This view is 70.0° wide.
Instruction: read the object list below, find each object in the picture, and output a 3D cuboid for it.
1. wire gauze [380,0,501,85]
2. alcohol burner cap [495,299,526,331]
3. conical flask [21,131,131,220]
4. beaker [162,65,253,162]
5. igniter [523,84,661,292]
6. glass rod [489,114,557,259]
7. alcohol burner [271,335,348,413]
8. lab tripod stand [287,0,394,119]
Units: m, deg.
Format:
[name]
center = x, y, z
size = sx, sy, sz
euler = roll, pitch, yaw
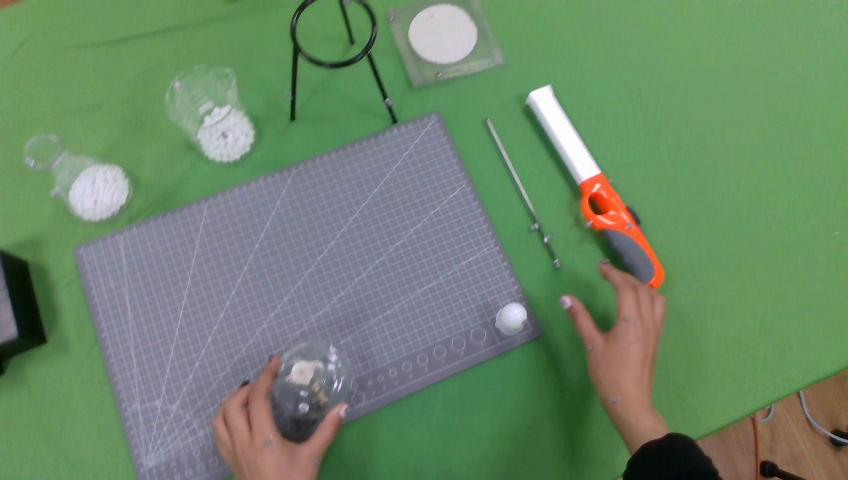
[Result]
[wire gauze]
center = 0.021, -0.262, 0.772
size = 0.125, 0.011, 0.121
euler = -17, 77, -8
[alcohol burner cap]
center = 0.095, 0.079, 0.659
size = 0.034, 0.048, 0.033
euler = 0, 73, -1
[conical flask]
center = -0.376, -0.074, 0.650
size = 0.075, 0.122, 0.075
euler = 0, 74, -1
[beaker]
center = -0.236, -0.139, 0.684
size = 0.074, 0.101, 0.084
euler = 39, 76, 9
[igniter]
center = 0.197, -0.065, 0.712
size = 0.057, 0.025, 0.275
euler = -23, 76, -18
[glass rod]
center = 0.117, -0.067, 0.723
size = 0.008, 0.008, 0.198
euler = -19, 75, -7
[alcohol burner]
center = -0.116, 0.131, 0.602
size = 0.078, 0.119, 0.077
euler = 1, 72, -2
[lab tripod stand]
center = -0.100, -0.200, 0.686
size = 0.148, 0.132, 0.147
euler = 0, 76, -1
